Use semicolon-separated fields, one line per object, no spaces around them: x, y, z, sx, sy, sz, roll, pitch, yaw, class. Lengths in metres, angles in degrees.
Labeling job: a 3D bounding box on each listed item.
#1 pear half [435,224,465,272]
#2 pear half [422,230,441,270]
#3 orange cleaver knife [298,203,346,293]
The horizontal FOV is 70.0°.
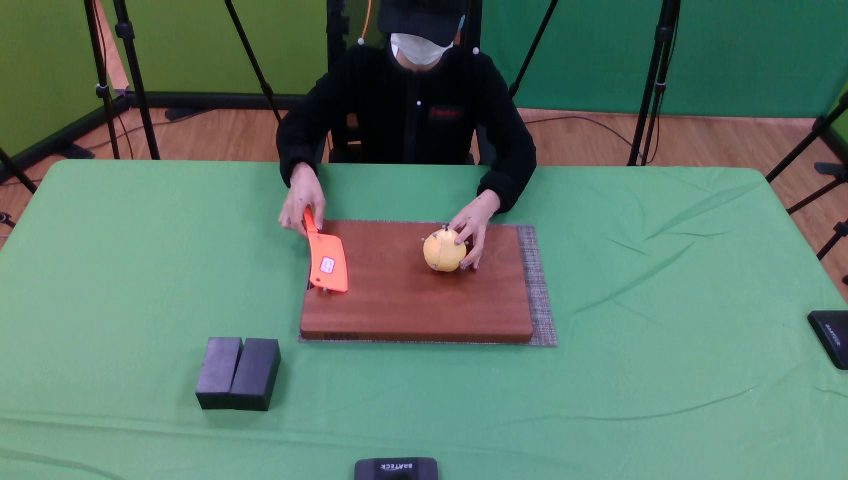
0.048;0.009;1.093;0.056;0.110;0.076;-1;52;-6;pear half
0.013;0.015;1.099;0.031;0.088;0.070;-2;52;-5;pear half
-0.190;0.012;1.122;0.077;0.012;0.210;4;48;-29;orange cleaver knife
